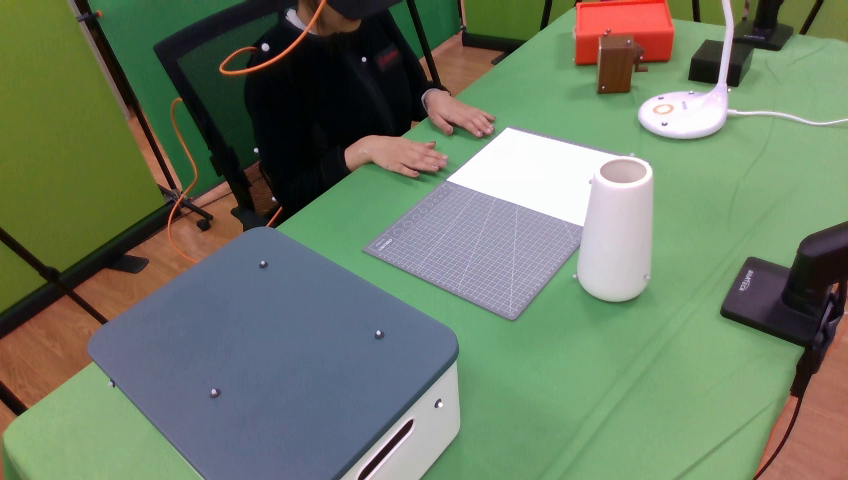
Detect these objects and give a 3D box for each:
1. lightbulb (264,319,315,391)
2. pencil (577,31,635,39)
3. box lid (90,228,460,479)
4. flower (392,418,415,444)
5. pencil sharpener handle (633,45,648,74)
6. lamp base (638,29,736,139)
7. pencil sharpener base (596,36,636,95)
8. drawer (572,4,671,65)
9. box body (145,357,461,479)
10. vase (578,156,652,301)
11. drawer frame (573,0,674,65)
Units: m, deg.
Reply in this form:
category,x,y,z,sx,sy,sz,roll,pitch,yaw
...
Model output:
category,x,y,z,sx,sy,sz,roll,pitch,yaw
lightbulb,-0.175,0.154,0.806,0.060,0.060,0.107,-24,58,-17
pencil,0.431,-0.489,1.443,0.012,0.012,0.192,-25,30,-18
box lid,-0.173,0.112,0.662,0.368,0.015,0.264,25,50,35
flower,-0.153,0.228,0.743,0.360,0.038,0.044,-2,44,16
pencil sharpener handle,0.454,-0.378,1.262,0.030,0.068,0.036,1,47,13
lamp base,0.501,-0.302,1.125,0.179,0.181,0.160,-4,40,3
pencil sharpener base,0.406,-0.369,1.280,0.076,0.107,0.061,1,41,13
drawer,0.461,-0.490,1.435,0.211,0.073,0.194,2,41,12
box body,-0.162,0.170,0.708,0.361,0.161,0.255,25,50,34
vase,0.261,-0.011,0.812,0.098,0.201,0.097,-4,40,4
drawer frame,0.464,-0.492,1.434,0.213,0.083,0.201,1,40,12
